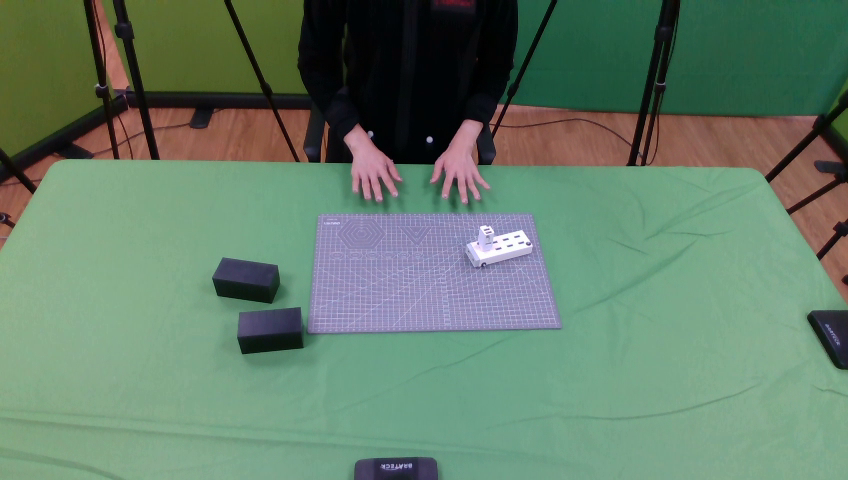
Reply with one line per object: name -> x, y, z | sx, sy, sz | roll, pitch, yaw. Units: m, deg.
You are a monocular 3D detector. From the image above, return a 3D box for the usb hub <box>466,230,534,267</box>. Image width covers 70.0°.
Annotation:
usb hub -> 0.148, 0.017, 1.185 | 0.125, 0.025, 0.049 | -14, 49, -16

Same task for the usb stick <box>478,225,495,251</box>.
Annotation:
usb stick -> 0.118, 0.001, 1.158 | 0.021, 0.059, 0.027 | -15, 51, -19
